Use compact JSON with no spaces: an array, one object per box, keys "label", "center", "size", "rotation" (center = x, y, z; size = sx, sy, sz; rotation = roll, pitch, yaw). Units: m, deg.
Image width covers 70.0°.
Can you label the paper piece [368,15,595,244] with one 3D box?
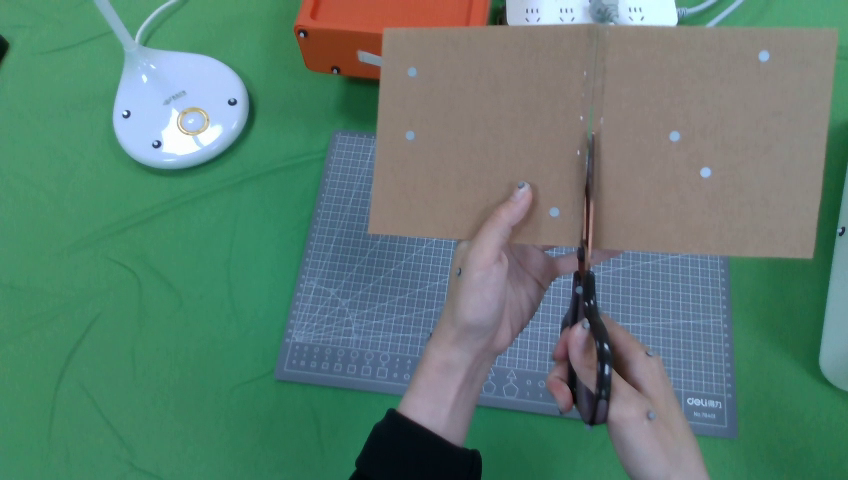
[{"label":"paper piece","center":[0.032,-0.069,0.379],"size":[0.135,0.008,0.138],"rotation":[5,95,14]}]

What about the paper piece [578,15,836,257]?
[{"label":"paper piece","center":[0.163,-0.061,0.355],"size":[0.135,0.004,0.136],"rotation":[4,98,8]}]

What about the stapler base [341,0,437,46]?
[{"label":"stapler base","center":[-0.044,-0.274,0.706],"size":[0.129,0.024,0.041],"rotation":[36,89,18]}]

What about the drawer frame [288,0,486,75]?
[{"label":"drawer frame","center":[-0.028,-0.294,0.695],"size":[0.201,0.083,0.212],"rotation":[7,67,5]}]

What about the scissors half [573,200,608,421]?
[{"label":"scissors half","center":[0.097,0.017,0.360],"size":[0.013,0.040,0.174],"rotation":[2,73,-2]}]

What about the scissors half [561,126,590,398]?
[{"label":"scissors half","center":[0.098,0.017,0.383],"size":[0.013,0.040,0.176],"rotation":[2,106,3]}]

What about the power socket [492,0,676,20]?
[{"label":"power socket","center":[0.200,-0.289,0.759],"size":[0.227,0.033,0.071],"rotation":[1,68,2]}]

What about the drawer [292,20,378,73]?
[{"label":"drawer","center":[-0.027,-0.291,0.694],"size":[0.194,0.074,0.210],"rotation":[7,67,6]}]

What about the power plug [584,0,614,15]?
[{"label":"power plug","center":[0.208,-0.271,0.727],"size":[0.035,0.053,0.072],"rotation":[11,68,6]}]

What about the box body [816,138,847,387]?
[{"label":"box body","center":[0.541,-0.008,0.557],"size":[0.253,0.161,0.362],"rotation":[19,69,10]}]

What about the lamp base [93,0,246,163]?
[{"label":"lamp base","center":[-0.307,-0.200,0.658],"size":[0.178,0.181,0.160],"rotation":[38,73,19]}]

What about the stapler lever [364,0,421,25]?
[{"label":"stapler lever","center":[-0.053,-0.279,0.682],"size":[0.117,0.040,0.027],"rotation":[36,88,20]}]
